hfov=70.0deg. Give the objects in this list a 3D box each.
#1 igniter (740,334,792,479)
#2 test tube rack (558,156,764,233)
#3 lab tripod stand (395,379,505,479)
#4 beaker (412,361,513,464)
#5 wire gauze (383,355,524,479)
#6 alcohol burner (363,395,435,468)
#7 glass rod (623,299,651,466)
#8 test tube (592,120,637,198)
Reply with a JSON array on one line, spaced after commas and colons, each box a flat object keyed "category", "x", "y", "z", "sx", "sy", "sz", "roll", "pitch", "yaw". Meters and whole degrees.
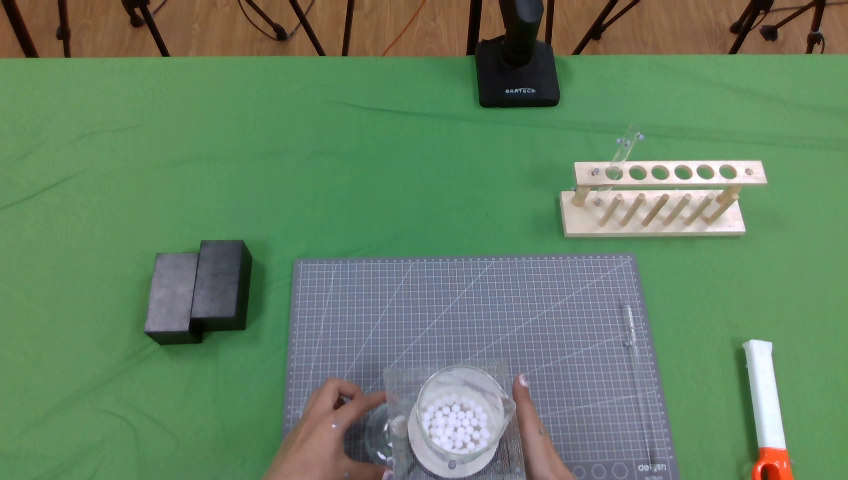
[{"category": "igniter", "x": 0.396, "y": 0.243, "z": 0.692, "sx": 0.057, "sy": 0.025, "sz": 0.274, "roll": 10, "pitch": 65, "yaw": -9}, {"category": "test tube rack", "x": 0.309, "y": -0.059, "z": 0.799, "sx": 0.242, "sy": 0.086, "sz": 0.066, "roll": -1, "pitch": 64, "yaw": -2}, {"category": "lab tripod stand", "x": 0.024, "y": 0.204, "z": 0.634, "sx": 0.148, "sy": 0.132, "sz": 0.147, "roll": 0, "pitch": 64, "yaw": 0}, {"category": "beaker", "x": 0.031, "y": 0.155, "z": 0.531, "sx": 0.084, "sy": 0.101, "sz": 0.073, "roll": -6, "pitch": 64, "yaw": -4}, {"category": "wire gauze", "x": 0.026, "y": 0.172, "z": 0.576, "sx": 0.125, "sy": 0.011, "sz": 0.120, "roll": -5, "pitch": 63, "yaw": -2}, {"category": "alcohol burner", "x": -0.026, "y": 0.200, "z": 0.645, "sx": 0.078, "sy": 0.120, "sz": 0.077, "roll": 1, "pitch": 63, "yaw": -2}, {"category": "glass rod", "x": 0.256, "y": 0.167, "z": 0.730, "sx": 0.008, "sy": 0.008, "sz": 0.198, "roll": 0, "pitch": 67, "yaw": -2}, {"category": "test tube", "x": 0.237, "y": -0.097, "z": 0.759, "sx": 0.017, "sy": 0.151, "sz": 0.017, "roll": 0, "pitch": 61, "yaw": 0}]
